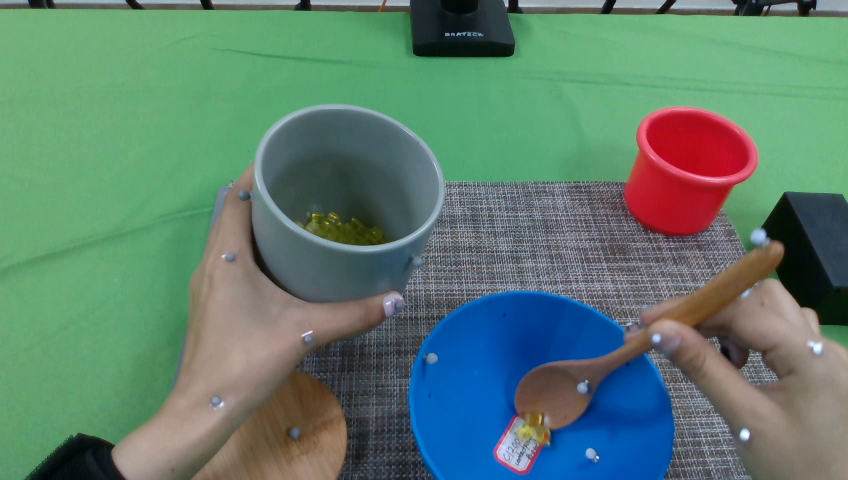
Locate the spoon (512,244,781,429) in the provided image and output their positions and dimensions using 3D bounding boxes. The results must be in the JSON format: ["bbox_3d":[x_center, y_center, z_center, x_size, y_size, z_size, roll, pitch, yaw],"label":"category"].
[{"bbox_3d":[0.110,0.060,0.331,0.041,0.194,0.021,47,47,7],"label":"spoon"}]

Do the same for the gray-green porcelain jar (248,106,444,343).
[{"bbox_3d":[-0.055,-0.002,0.381,0.106,0.127,0.105,9,54,-13],"label":"gray-green porcelain jar"}]

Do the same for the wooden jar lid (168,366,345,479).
[{"bbox_3d":[-0.104,0.132,0.383,0.108,0.021,0.107,1,49,-1],"label":"wooden jar lid"}]

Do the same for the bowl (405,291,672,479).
[{"bbox_3d":[0.063,0.114,0.371,0.151,0.077,0.150,2,49,-2],"label":"bowl"}]
